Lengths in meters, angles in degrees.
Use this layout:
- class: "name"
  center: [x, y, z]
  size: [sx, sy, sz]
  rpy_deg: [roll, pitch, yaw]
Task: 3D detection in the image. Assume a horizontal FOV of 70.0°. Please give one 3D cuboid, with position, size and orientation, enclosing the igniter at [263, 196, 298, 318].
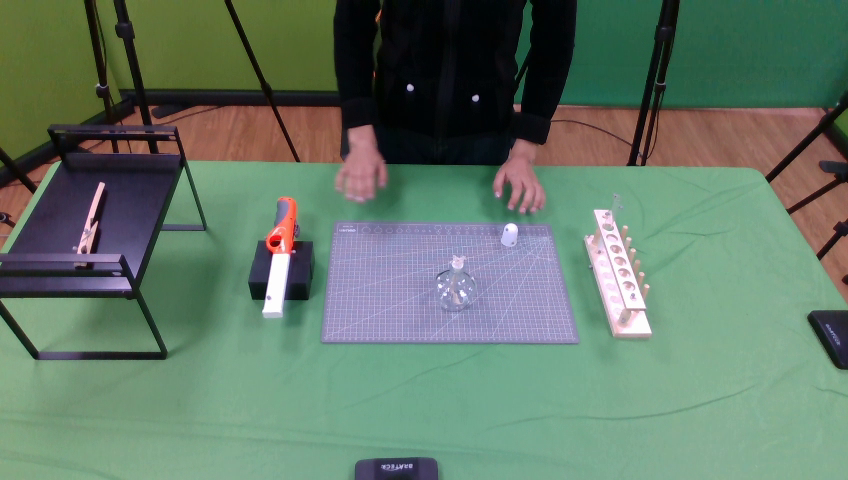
- class: "igniter"
  center: [-0.259, 0.020, 1.089]
  size: [0.057, 0.025, 0.274]
  rpy_deg: [-2, 49, -3]

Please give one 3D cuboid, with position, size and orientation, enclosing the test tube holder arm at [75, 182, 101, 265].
- class: "test tube holder arm"
  center: [-0.518, -0.030, 0.937]
  size: [0.013, 0.015, 0.177]
  rpy_deg: [25, 33, -37]

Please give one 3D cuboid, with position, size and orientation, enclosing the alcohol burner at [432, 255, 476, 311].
- class: "alcohol burner"
  center: [0.055, 0.070, 1.068]
  size: [0.078, 0.119, 0.077]
  rpy_deg: [3, 45, -3]

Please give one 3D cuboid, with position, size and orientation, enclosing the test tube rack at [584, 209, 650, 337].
- class: "test tube rack"
  center: [0.365, 0.056, 1.129]
  size: [0.067, 0.085, 0.240]
  rpy_deg: [1, 46, -4]

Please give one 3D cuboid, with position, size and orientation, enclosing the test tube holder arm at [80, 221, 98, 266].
- class: "test tube holder arm"
  center: [-0.504, 0.004, 0.910]
  size: [0.010, 0.015, 0.087]
  rpy_deg: [26, 32, -36]

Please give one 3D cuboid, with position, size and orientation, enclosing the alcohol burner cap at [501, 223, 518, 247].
- class: "alcohol burner cap"
  center: [0.172, -0.013, 1.206]
  size: [0.034, 0.048, 0.033]
  rpy_deg: [1, 46, -1]

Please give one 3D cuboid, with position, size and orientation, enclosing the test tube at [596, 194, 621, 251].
- class: "test tube"
  center: [0.346, -0.029, 1.141]
  size: [0.017, 0.151, 0.017]
  rpy_deg: [0, 50, 0]
